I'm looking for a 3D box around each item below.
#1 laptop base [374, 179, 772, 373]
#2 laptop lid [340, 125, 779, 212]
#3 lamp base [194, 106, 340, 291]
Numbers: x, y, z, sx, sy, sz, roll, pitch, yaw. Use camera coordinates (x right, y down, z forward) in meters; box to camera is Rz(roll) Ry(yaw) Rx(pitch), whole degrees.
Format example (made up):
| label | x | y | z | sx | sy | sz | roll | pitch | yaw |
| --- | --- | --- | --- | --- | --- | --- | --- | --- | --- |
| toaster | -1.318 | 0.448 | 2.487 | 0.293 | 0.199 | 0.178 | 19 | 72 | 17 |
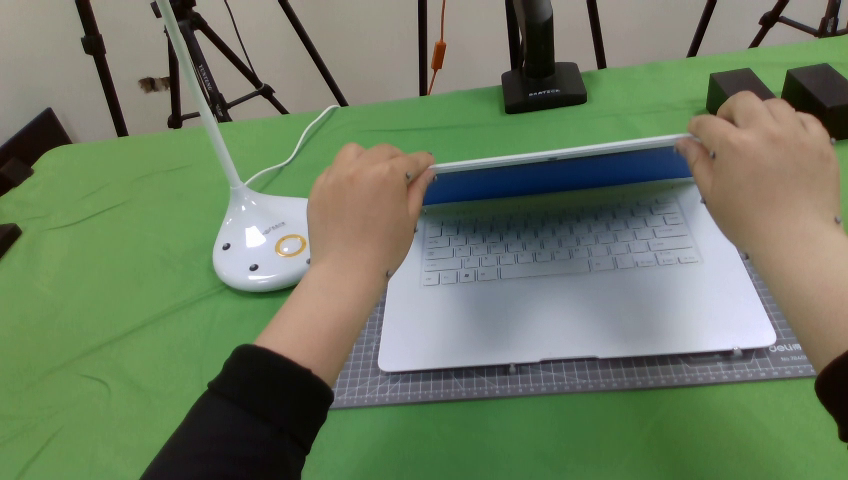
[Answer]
| label | x | y | z | sx | sy | sz | roll | pitch | yaw |
| --- | --- | --- | --- | --- | --- | --- | --- | --- | --- |
| laptop base | 0.132 | 0.032 | 0.626 | 0.354 | 0.023 | 0.233 | -6 | 43 | 8 |
| laptop lid | 0.117 | -0.062 | 0.594 | 0.356 | 0.242 | 0.013 | -6 | 86 | 10 |
| lamp base | -0.204 | -0.058 | 0.693 | 0.177 | 0.182 | 0.160 | 23 | 51 | 38 |
